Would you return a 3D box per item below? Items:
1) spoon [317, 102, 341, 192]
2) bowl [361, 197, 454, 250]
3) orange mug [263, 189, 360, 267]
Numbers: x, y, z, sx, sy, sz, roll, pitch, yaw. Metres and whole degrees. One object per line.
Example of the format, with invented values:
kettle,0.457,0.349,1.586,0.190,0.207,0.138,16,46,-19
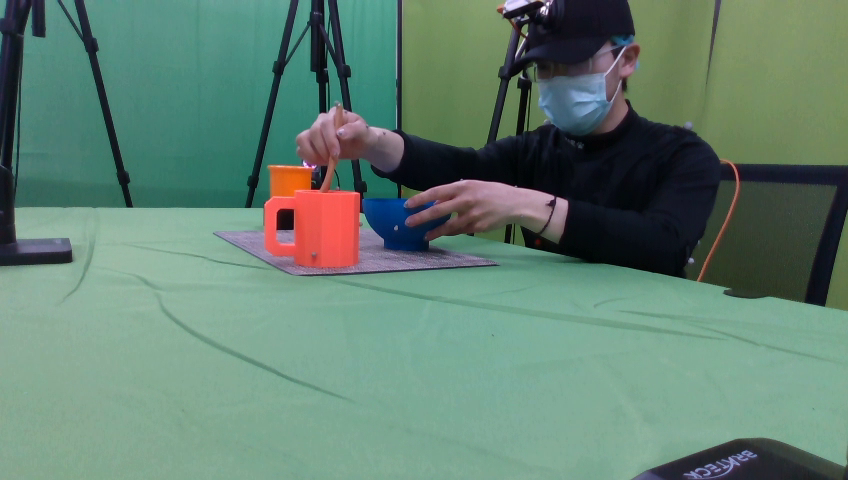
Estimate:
spoon,-0.131,-0.091,0.812,0.021,0.193,0.042,11,-4,33
bowl,-0.028,-0.028,0.984,0.151,0.077,0.151,2,7,0
orange mug,-0.147,-0.019,0.795,0.127,0.100,0.083,5,6,-19
